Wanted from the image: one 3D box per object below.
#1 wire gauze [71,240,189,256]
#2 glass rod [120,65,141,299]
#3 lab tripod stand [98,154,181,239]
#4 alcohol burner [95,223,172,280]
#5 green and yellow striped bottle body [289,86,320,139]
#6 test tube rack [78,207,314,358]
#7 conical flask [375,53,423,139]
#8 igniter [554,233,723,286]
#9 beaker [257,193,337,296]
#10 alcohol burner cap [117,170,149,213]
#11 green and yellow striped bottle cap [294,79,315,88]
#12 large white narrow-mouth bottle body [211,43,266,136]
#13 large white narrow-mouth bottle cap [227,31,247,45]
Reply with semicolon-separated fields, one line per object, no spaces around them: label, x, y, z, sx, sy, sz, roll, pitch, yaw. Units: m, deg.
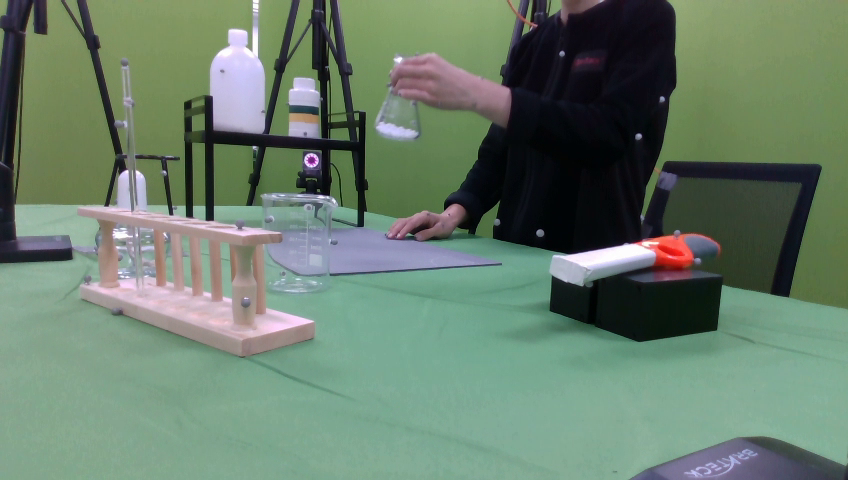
wire gauze;-0.399;0.013;0.820;0.126;0.011;0.121;-3;8;-37
glass rod;-0.248;-0.047;0.513;0.008;0.199;0.008;-1;4;0
lab tripod stand;-0.427;-0.066;0.942;0.148;0.131;0.148;1;6;0
alcohol burner;-0.320;-0.017;0.667;0.078;0.119;0.078;0;7;0
green and yellow striped bottle body;-0.250;-0.272;1.261;0.063;0.119;0.063;3;7;0
test tube rack;-0.197;0.024;0.500;0.241;0.085;0.067;8;8;37
conical flask;-0.032;-0.219;0.917;0.075;0.122;0.075;7;21;-2
igniter;0.214;0.015;0.570;0.278;0.025;0.057;-5;22;-44
beaker;-0.130;0.003;0.628;0.084;0.100;0.074;5;8;15
alcohol burner cap;-0.320;-0.052;0.661;0.034;0.048;0.034;-3;0;0
green and yellow striped bottle cap;-0.248;-0.323;1.256;0.045;0.020;0.045;4;9;0
large white narrow-mouth bottle body;-0.361;-0.302;1.176;0.102;0.194;0.102;1;8;0
large white narrow-mouth bottle cap;-0.361;-0.388;1.165;0.038;0.024;0.037;1;7;0
